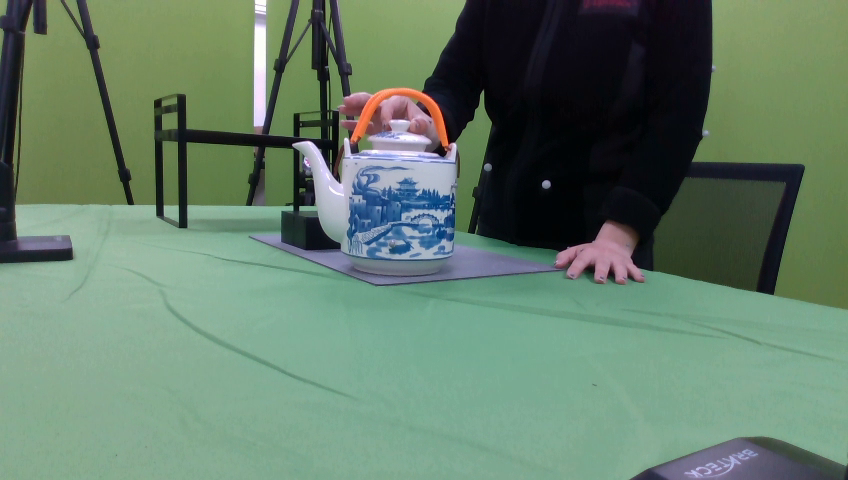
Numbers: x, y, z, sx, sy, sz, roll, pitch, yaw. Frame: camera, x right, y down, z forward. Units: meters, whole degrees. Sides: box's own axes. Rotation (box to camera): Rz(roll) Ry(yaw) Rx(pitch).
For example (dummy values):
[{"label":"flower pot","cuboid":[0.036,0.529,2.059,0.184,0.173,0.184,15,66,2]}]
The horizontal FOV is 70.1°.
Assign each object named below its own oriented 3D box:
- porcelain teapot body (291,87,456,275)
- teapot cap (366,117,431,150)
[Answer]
[{"label":"porcelain teapot body","cuboid":[-0.060,-0.076,0.753,0.206,0.225,0.145,0,8,-11]},{"label":"teapot cap","cuboid":[-0.032,-0.134,0.765,0.085,0.044,0.085,1,14,0]}]
